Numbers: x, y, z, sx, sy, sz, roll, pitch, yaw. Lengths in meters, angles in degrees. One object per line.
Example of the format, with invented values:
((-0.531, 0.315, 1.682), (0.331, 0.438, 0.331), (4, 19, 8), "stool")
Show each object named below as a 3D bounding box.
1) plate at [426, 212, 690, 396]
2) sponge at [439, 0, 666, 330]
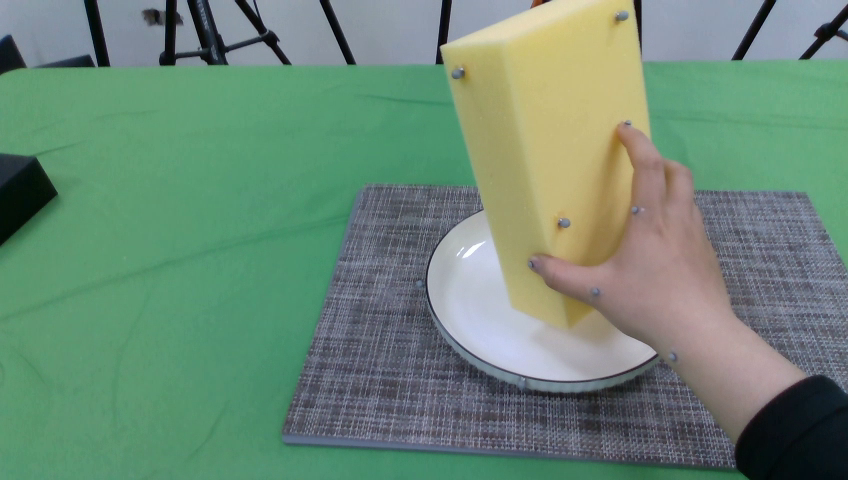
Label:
((0.106, 0.044, 0.502), (0.207, 0.039, 0.205), (-3, 42, 3), "plate")
((0.100, -0.055, 0.433), (0.118, 0.208, 0.060), (-33, 28, -25), "sponge")
